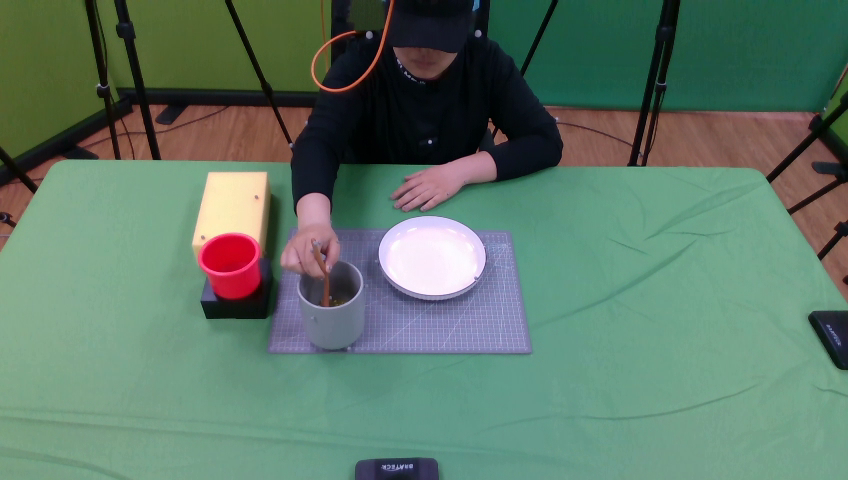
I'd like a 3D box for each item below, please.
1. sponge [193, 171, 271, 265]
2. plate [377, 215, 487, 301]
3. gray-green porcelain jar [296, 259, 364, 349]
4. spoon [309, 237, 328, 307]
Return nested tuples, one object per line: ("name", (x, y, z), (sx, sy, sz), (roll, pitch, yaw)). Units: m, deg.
("sponge", (-0.371, -0.047, 1.189), (0.118, 0.061, 0.205), (-3, 47, -6))
("plate", (0.015, 0.037, 1.148), (0.208, 0.039, 0.206), (2, 46, -2))
("gray-green porcelain jar", (-0.152, 0.111, 1.003), (0.106, 0.127, 0.105), (2, 46, -2))
("spoon", (-0.160, 0.067, 0.964), (0.021, 0.195, 0.041), (-10, 42, -12))
